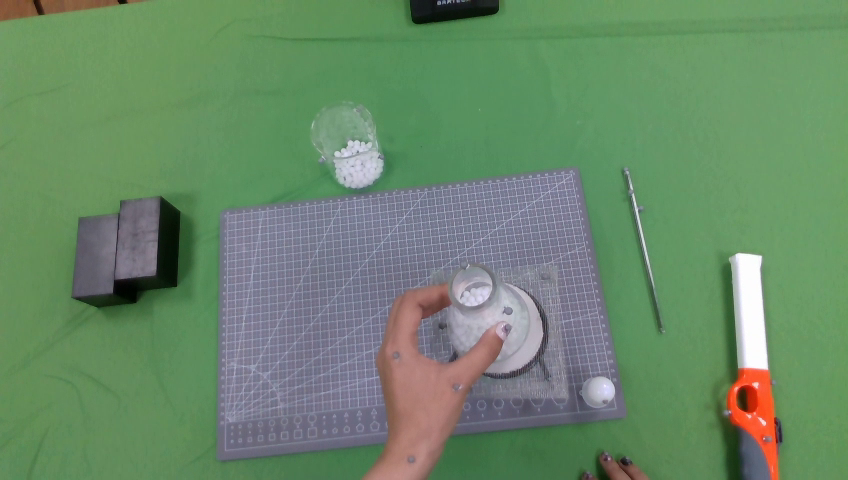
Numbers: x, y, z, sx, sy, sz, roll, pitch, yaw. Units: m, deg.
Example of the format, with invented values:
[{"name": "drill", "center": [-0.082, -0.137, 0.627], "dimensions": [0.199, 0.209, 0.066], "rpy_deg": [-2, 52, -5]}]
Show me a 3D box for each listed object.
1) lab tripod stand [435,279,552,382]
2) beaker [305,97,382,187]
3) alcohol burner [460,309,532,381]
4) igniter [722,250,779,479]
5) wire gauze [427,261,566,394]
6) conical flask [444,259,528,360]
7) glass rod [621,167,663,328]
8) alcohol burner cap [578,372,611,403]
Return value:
[{"name": "lab tripod stand", "center": [0.072, 0.102, 0.622], "dimensions": [0.148, 0.132, 0.147], "rpy_deg": [-1, 74, 5]}, {"name": "beaker", "center": [-0.089, -0.112, 0.724], "dimensions": [0.083, 0.101, 0.074], "rpy_deg": [28, 77, 12]}, {"name": "alcohol burner", "center": [0.074, 0.107, 0.631], "dimensions": [0.078, 0.120, 0.077], "rpy_deg": [-2, 72, 6]}, {"name": "igniter", "center": [0.345, 0.144, 0.646], "dimensions": [0.057, 0.025, 0.275], "rpy_deg": [7, 73, -4]}, {"name": "wire gauze", "center": [0.064, 0.080, 0.558], "dimensions": [0.125, 0.011, 0.121], "rpy_deg": [-1, 74, 5]}, {"name": "conical flask", "center": [0.045, 0.052, 0.490], "dimensions": [0.075, 0.123, 0.075], "rpy_deg": [-4, 70, 10]}, {"name": "glass rod", "center": [0.253, 0.004, 0.707], "dimensions": [0.008, 0.008, 0.198], "rpy_deg": [-7, 71, 2]}, {"name": "alcohol burner cap", "center": [0.184, 0.155, 0.644], "dimensions": [0.034, 0.048, 0.033], "rpy_deg": [-1, 72, 5]}]
